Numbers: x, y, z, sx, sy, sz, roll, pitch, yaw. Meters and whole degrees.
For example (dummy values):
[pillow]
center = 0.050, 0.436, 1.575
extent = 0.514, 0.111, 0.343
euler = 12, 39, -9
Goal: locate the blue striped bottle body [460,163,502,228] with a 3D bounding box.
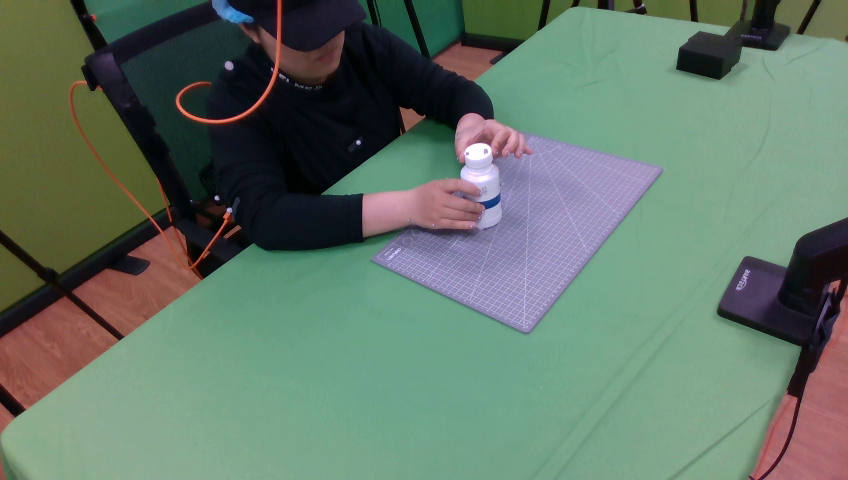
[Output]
[blue striped bottle body]
center = 0.093, -0.083, 0.983
extent = 0.063, 0.121, 0.063
euler = -6, 41, 6

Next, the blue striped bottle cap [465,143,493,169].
[blue striped bottle cap]
center = 0.085, -0.132, 0.940
extent = 0.044, 0.021, 0.044
euler = -6, 46, 7
